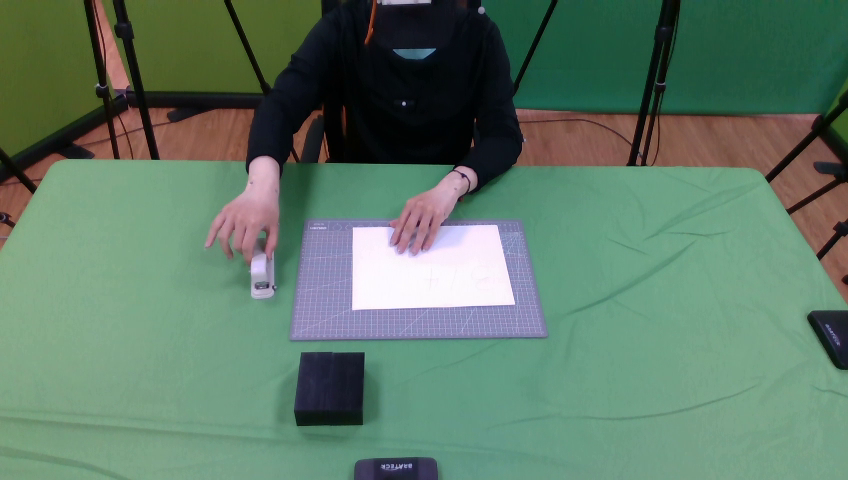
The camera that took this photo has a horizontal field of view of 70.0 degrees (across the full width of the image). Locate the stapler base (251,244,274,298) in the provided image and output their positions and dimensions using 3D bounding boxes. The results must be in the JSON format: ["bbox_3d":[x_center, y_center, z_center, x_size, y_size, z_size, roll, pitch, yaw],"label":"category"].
[{"bbox_3d":[-0.300,0.050,1.124,0.041,0.024,0.129,-3,45,-12],"label":"stapler base"}]

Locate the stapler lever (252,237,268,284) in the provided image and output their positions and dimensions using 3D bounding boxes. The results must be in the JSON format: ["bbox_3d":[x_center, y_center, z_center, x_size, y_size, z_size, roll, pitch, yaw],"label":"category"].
[{"bbox_3d":[-0.299,0.031,1.107,0.027,0.040,0.117,-4,45,-12],"label":"stapler lever"}]
